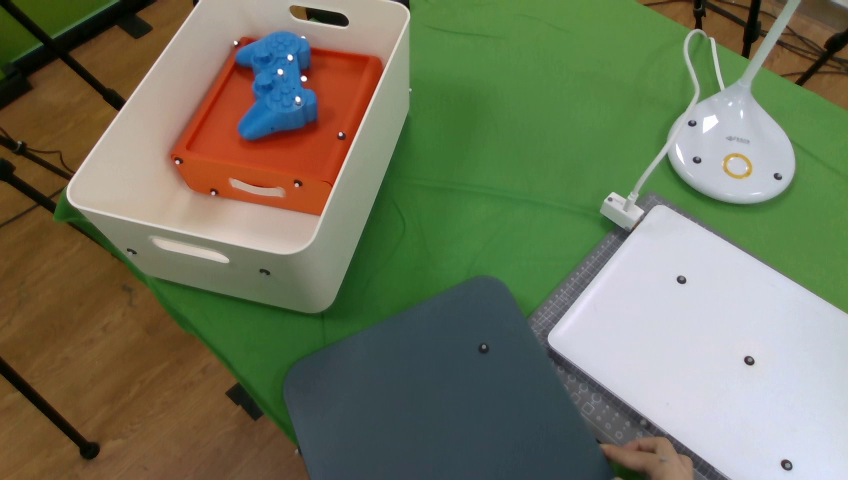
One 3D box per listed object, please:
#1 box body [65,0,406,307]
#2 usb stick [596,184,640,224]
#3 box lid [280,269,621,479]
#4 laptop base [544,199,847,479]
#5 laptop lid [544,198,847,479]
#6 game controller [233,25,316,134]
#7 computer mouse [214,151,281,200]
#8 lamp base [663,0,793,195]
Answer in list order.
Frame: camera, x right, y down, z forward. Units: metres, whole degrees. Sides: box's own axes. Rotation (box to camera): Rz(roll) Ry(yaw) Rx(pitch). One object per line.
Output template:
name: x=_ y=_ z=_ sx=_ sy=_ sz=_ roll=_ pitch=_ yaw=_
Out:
box body: x=-0.182 y=-0.123 z=0.712 sx=0.253 sy=0.162 sz=0.361 roll=13 pitch=60 yaw=8
usb stick: x=0.237 y=-0.039 z=0.723 sx=0.059 sy=0.027 sz=0.021 roll=41 pitch=63 yaw=19
box lid: x=0.033 y=0.217 z=0.574 sx=0.263 sy=0.015 sz=0.368 roll=-24 pitch=63 yaw=-7
laptop base: x=0.334 y=0.124 z=0.639 sx=0.352 sy=0.023 sz=0.235 roll=36 pitch=70 yaw=20
laptop lid: x=0.332 y=0.119 z=0.629 sx=0.354 sy=0.013 sz=0.241 roll=38 pitch=69 yaw=21
game controller: x=-0.186 y=-0.204 z=0.741 sx=0.097 sy=0.052 sz=0.153 roll=-8 pitch=59 yaw=-8
computer mouse: x=-0.216 y=-0.087 z=0.750 sx=0.063 sy=0.041 sz=0.116 roll=-13 pitch=20 yaw=3
lamp base: x=0.389 y=-0.175 z=0.722 sx=0.160 sy=0.182 sz=0.177 roll=2 pitch=56 yaw=3
